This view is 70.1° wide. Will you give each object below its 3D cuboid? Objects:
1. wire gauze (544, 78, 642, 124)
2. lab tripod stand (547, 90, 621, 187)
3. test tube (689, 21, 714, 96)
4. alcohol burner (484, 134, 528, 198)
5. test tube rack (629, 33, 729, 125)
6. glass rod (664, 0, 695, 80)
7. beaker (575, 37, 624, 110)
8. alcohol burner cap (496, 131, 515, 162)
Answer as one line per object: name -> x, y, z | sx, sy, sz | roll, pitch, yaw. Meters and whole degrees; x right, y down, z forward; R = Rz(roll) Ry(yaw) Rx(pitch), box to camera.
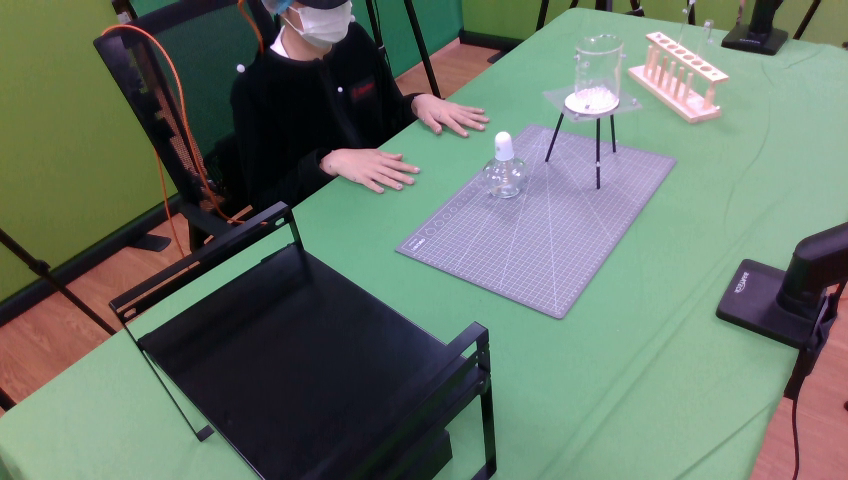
wire gauze -> 0.282, -0.234, 1.022 | 0.125, 0.011, 0.120 | -17, 38, -4
lab tripod stand -> 0.289, -0.184, 1.062 | 0.148, 0.132, 0.147 | -6, 41, 6
test tube -> 0.541, -0.353, 1.184 | 0.017, 0.151, 0.017 | -2, 40, 2
alcohol burner -> 0.141, -0.133, 1.041 | 0.078, 0.119, 0.077 | -5, 43, 5
test tube rack -> 0.516, -0.337, 1.248 | 0.067, 0.085, 0.240 | -14, 41, -7
glass rod -> 0.523, -0.415, 1.235 | 0.008, 0.200, 0.008 | 1, 46, 0
beaker -> 0.283, -0.271, 0.988 | 0.074, 0.101, 0.083 | -10, 39, 1
alcohol burner cap -> 0.135, -0.160, 1.019 | 0.034, 0.048, 0.033 | -8, 37, 7
